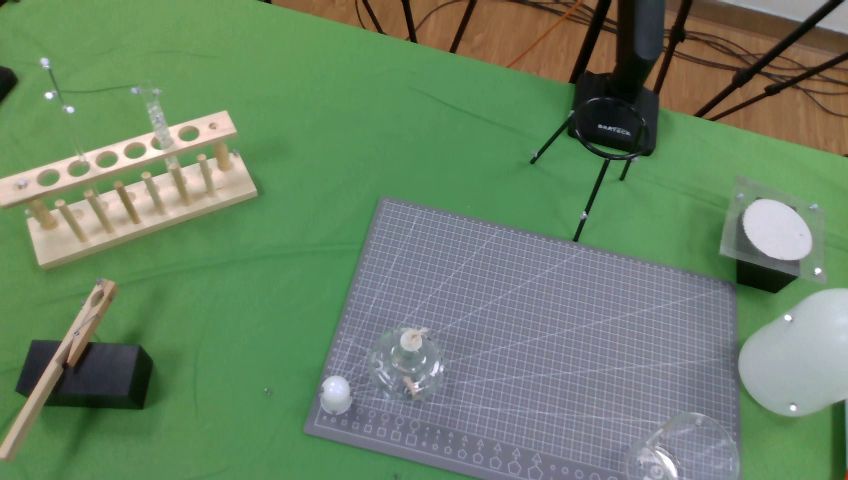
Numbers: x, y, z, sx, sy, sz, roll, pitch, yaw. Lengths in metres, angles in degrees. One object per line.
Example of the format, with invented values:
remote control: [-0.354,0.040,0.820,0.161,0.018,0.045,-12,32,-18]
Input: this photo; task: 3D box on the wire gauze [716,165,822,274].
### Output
wire gauze: [0.420,-0.026,0.732,0.121,0.011,0.124,21,60,5]

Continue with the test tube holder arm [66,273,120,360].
test tube holder arm: [-0.322,0.073,0.584,0.010,0.015,0.087,17,60,3]

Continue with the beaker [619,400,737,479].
beaker: [0.236,0.203,0.584,0.084,0.101,0.073,11,60,1]

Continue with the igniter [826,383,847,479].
igniter: [0.450,0.239,0.629,0.057,0.025,0.275,3,55,31]

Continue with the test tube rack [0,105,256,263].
test tube rack: [-0.321,-0.064,0.675,0.243,0.086,0.066,-23,66,-18]

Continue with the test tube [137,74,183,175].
test tube: [-0.282,-0.118,0.653,0.017,0.151,0.017,4,58,-6]

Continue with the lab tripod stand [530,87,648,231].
lab tripod stand: [0.204,-0.104,0.734,0.148,0.132,0.147,3,62,-6]

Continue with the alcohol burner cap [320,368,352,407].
alcohol burner cap: [-0.089,0.146,0.609,0.034,0.048,0.033,2,62,-4]

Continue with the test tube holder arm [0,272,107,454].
test tube holder arm: [-0.339,0.108,0.561,0.013,0.015,0.177,16,60,3]

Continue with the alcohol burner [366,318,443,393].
alcohol burner: [-0.017,0.108,0.598,0.078,0.120,0.077,4,60,-7]

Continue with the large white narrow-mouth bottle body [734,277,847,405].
large white narrow-mouth bottle body: [0.407,0.095,0.613,0.102,0.196,0.101,3,60,-4]

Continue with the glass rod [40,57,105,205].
glass rod: [-0.354,-0.100,0.616,0.008,0.201,0.008,6,52,-7]
